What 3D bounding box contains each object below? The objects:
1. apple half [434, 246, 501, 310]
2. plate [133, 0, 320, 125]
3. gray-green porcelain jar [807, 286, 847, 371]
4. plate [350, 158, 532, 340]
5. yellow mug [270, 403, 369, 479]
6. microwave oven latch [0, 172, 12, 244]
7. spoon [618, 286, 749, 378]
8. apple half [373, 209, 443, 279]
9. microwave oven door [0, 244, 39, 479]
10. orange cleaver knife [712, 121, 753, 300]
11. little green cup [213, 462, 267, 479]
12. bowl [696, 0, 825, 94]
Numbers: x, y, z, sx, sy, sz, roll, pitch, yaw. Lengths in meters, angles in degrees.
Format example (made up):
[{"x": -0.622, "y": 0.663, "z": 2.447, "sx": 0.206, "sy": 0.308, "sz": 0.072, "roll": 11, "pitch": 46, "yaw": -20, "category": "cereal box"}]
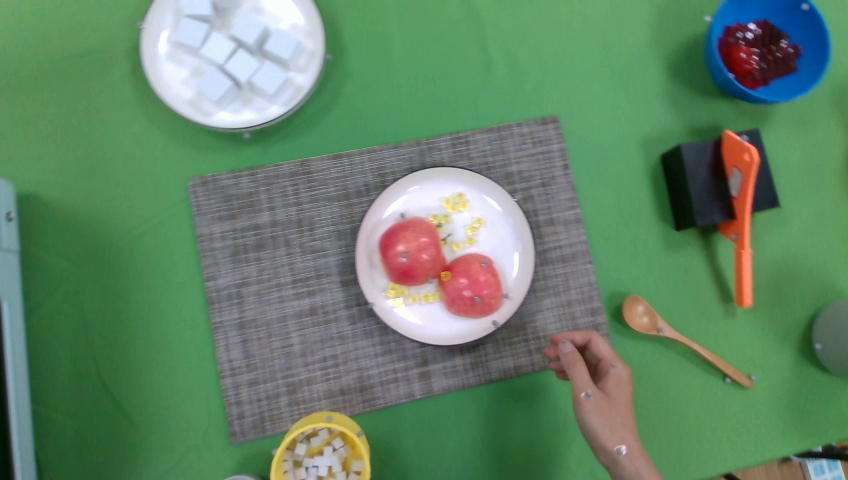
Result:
[{"x": 0.051, "y": 0.044, "z": 0.692, "sx": 0.081, "sy": 0.033, "sz": 0.081, "roll": 1, "pitch": 81, "yaw": -4, "category": "apple half"}, {"x": -0.225, "y": -0.232, "z": 0.705, "sx": 0.208, "sy": 0.039, "sz": 0.207, "roll": 1, "pitch": 83, "yaw": -6, "category": "plate"}, {"x": 0.524, "y": 0.103, "z": 0.698, "sx": 0.106, "sy": 0.126, "sz": 0.105, "roll": 1, "pitch": 83, "yaw": -5, "category": "gray-green porcelain jar"}, {"x": 0.019, "y": 0.010, "z": 0.699, "sx": 0.209, "sy": 0.038, "sz": 0.208, "roll": 1, "pitch": 84, "yaw": -6, "category": "plate"}, {"x": -0.110, "y": 0.247, "z": 0.648, "sx": 0.100, "sy": 0.064, "sz": 0.130, "roll": 0, "pitch": 87, "yaw": -7, "category": "yellow mug"}, {"x": -0.459, "y": -0.035, "z": 0.640, "sx": 0.030, "sy": 0.029, "sz": 0.079, "roll": -8, "pitch": 85, "yaw": -7, "category": "microwave oven latch"}, {"x": 0.312, "y": 0.115, "z": 0.728, "sx": 0.194, "sy": 0.022, "sz": 0.041, "roll": 31, "pitch": 66, "yaw": -1, "category": "spoon"}, {"x": -0.018, "y": 0.004, "z": 0.680, "sx": 0.075, "sy": 0.053, "sz": 0.080, "roll": -14, "pitch": 86, "yaw": -5, "category": "apple half"}, {"x": -0.418, "y": 0.168, "z": 0.520, "sx": 0.039, "sy": 0.244, "sz": 0.355, "roll": -9, "pitch": 84, "yaw": -6, "category": "microwave oven door"}, {"x": 0.364, "y": -0.034, "z": 0.719, "sx": 0.012, "sy": 0.076, "sz": 0.212, "roll": -10, "pitch": 108, "yaw": -3, "category": "orange cleaver knife"}, {"x": -0.197, "y": 0.270, "z": 0.650, "sx": 0.061, "sy": 0.038, "sz": 0.061, "roll": 0, "pitch": 85, "yaw": -4, "category": "little green cup"}, {"x": 0.398, "y": -0.243, "z": 0.748, "sx": 0.151, "sy": 0.077, "sz": 0.151, "roll": 1, "pitch": 84, "yaw": -5, "category": "bowl"}]
